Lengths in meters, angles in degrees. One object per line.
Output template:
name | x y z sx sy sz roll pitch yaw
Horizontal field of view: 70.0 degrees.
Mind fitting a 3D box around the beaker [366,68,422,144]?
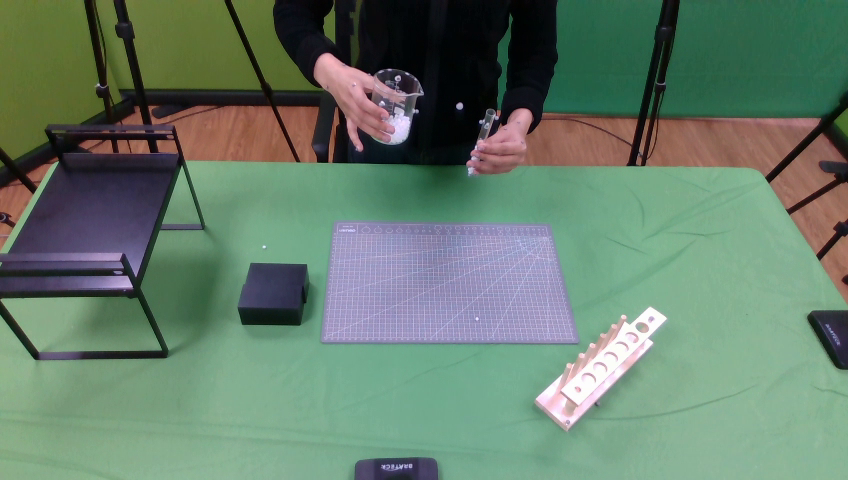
beaker | -0.051 -0.211 0.968 0.084 0.100 0.073 16 45 1

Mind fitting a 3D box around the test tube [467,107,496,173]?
test tube | 0.093 -0.161 1.003 0.017 0.151 0.017 5 57 -7

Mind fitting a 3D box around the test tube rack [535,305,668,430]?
test tube rack | 0.290 0.193 0.984 0.242 0.085 0.066 -32 56 -30
